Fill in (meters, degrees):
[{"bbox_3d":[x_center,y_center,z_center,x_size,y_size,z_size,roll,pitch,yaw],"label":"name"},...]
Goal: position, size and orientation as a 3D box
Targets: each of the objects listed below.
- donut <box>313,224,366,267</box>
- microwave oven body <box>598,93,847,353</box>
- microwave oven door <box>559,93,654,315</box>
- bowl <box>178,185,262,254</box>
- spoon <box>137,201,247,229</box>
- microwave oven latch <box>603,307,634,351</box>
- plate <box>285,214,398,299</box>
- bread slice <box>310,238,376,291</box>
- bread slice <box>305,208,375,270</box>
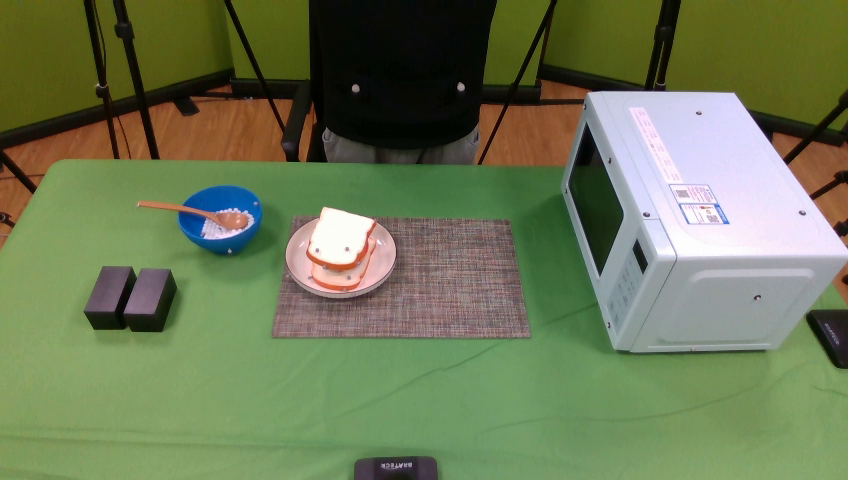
[{"bbox_3d":[-0.155,0.011,1.120,0.099,0.048,0.098,1,42,-1],"label":"donut"},{"bbox_3d":[0.475,-0.041,1.110,0.326,0.261,0.438,-1,45,-4],"label":"microwave oven body"},{"bbox_3d":[0.327,-0.074,1.123,0.039,0.245,0.353,-1,46,-5],"label":"microwave oven door"},{"bbox_3d":[-0.383,-0.027,1.158,0.151,0.077,0.150,2,46,-2],"label":"bowl"},{"bbox_3d":[-0.431,-0.052,1.135,0.194,0.022,0.041,14,46,-22],"label":"spoon"},{"bbox_3d":[0.332,0.153,1.044,0.030,0.029,0.078,0,45,-4],"label":"microwave oven latch"},{"bbox_3d":[-0.154,0.034,1.140,0.208,0.039,0.206,3,46,-2],"label":"plate"},{"bbox_3d":[-0.154,0.039,1.135,0.107,0.018,0.133,7,46,3],"label":"bread slice"},{"bbox_3d":[-0.154,-0.001,1.095,0.105,0.019,0.131,15,48,1],"label":"bread slice"}]
